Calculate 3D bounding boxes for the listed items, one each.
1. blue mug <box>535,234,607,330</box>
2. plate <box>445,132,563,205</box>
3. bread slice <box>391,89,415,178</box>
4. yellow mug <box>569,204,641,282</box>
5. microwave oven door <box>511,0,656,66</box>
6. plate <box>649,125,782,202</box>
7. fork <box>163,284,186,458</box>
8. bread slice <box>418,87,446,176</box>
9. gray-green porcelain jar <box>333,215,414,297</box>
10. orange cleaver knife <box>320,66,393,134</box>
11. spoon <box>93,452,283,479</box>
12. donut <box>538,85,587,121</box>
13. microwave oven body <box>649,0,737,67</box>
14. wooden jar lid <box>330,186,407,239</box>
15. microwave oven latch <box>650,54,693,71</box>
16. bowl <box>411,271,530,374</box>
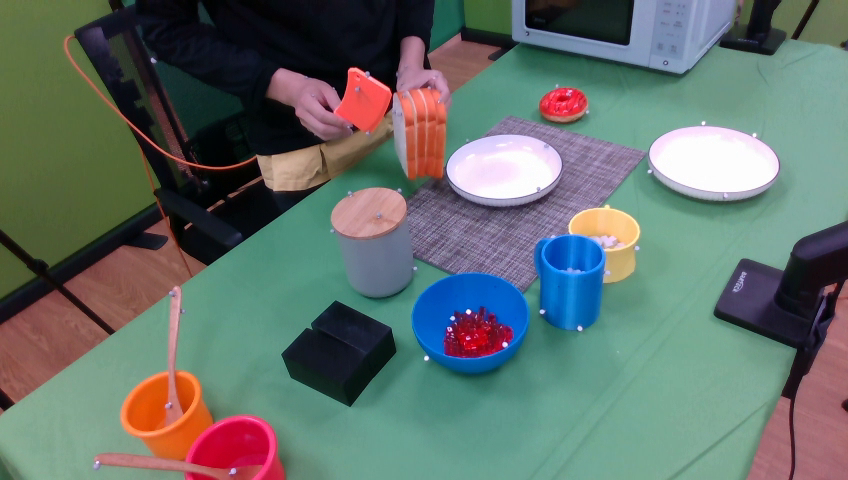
[{"bbox_3d":[0.190,0.048,0.824,0.082,0.106,0.115,-26,44,-20],"label":"blue mug"},{"bbox_3d":[0.142,-0.123,1.076,0.209,0.038,0.208,-4,41,4],"label":"plate"},{"bbox_3d":[-0.036,-0.186,1.016,0.019,0.132,0.104,-10,41,-12],"label":"bread slice"},{"bbox_3d":[0.268,-0.005,0.904,0.099,0.064,0.130,7,41,15],"label":"yellow mug"},{"bbox_3d":[0.351,-0.540,1.349,0.353,0.245,0.039,24,50,31],"label":"microwave oven door"},{"bbox_3d":[0.493,-0.127,1.036,0.207,0.039,0.206,-4,41,4],"label":"plate"},{"bbox_3d":[-0.302,0.157,0.733,0.028,0.019,0.207,-3,84,15],"label":"fork"},{"bbox_3d":[0.013,-0.189,1.028,0.018,0.134,0.106,-6,45,-14],"label":"bread slice"},{"bbox_3d":[-0.071,0.012,0.887,0.106,0.127,0.105,-4,41,4],"label":"gray-green porcelain jar"},{"bbox_3d":[-0.105,-0.193,0.904,0.077,0.210,0.012,37,64,-12],"label":"orange cleaver knife"},{"bbox_3d":[-0.240,0.239,0.632,0.195,0.021,0.041,26,33,-32],"label":"spoon"},{"bbox_3d":[0.283,-0.280,1.239,0.099,0.048,0.098,-5,43,5],"label":"donut"},{"bbox_3d":[0.475,-0.602,1.411,0.438,0.261,0.327,23,50,32],"label":"microwave oven body"},{"bbox_3d":[-0.077,-0.035,0.846,0.108,0.021,0.108,-5,41,5],"label":"wooden jar lid"},{"bbox_3d":[0.531,-0.386,1.301,0.078,0.029,0.030,26,51,33],"label":"microwave oven latch"},{"bbox_3d":[0.061,0.120,0.780,0.151,0.077,0.150,-4,40,4],"label":"bowl"}]
